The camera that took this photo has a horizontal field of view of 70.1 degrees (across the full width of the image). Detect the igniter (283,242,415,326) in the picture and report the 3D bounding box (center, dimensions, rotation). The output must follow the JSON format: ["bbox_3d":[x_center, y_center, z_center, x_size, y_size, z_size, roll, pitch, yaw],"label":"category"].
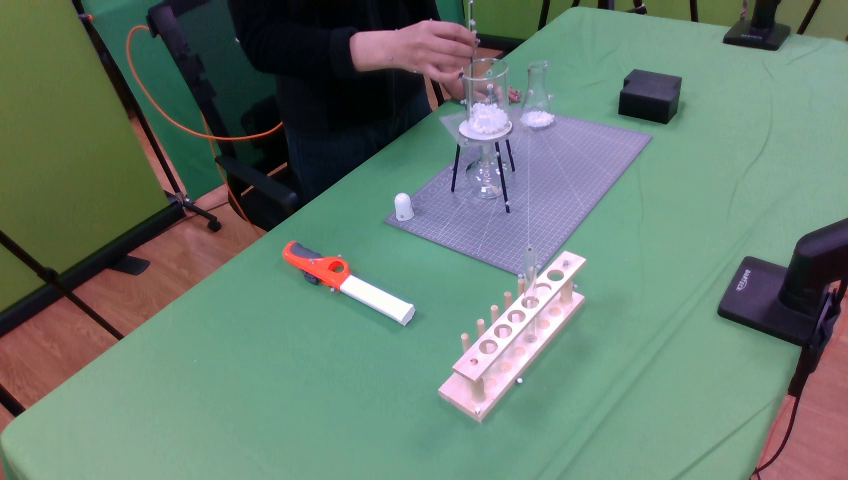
[{"bbox_3d":[-0.126,0.062,0.931,0.274,0.025,0.057,24,61,33],"label":"igniter"}]

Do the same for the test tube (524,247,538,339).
[{"bbox_3d":[0.133,0.070,0.749,0.017,0.151,0.017,-5,38,4],"label":"test tube"}]

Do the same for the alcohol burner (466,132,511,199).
[{"bbox_3d":[0.110,-0.132,1.044,0.078,0.119,0.077,-6,38,5],"label":"alcohol burner"}]

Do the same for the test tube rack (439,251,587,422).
[{"bbox_3d":[0.118,0.111,0.780,0.066,0.085,0.243,26,51,35],"label":"test tube rack"}]

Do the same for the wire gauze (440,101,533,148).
[{"bbox_3d":[0.100,-0.189,0.995,0.125,0.011,0.120,-16,37,-6],"label":"wire gauze"}]

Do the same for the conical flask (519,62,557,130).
[{"bbox_3d":[0.225,-0.287,1.199,0.075,0.122,0.075,-6,40,5],"label":"conical flask"}]

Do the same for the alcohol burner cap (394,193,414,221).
[{"bbox_3d":[-0.036,-0.059,1.040,0.034,0.048,0.033,-5,41,5],"label":"alcohol burner cap"}]

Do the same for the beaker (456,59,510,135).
[{"bbox_3d":[0.098,-0.226,0.964,0.084,0.101,0.073,-7,39,4],"label":"beaker"}]

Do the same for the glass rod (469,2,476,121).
[{"bbox_3d":[0.076,-0.269,0.935,0.008,0.200,0.008,-3,44,4],"label":"glass rod"}]

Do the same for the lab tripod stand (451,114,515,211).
[{"bbox_3d":[0.113,-0.140,1.037,0.148,0.132,0.147,-6,38,5],"label":"lab tripod stand"}]
